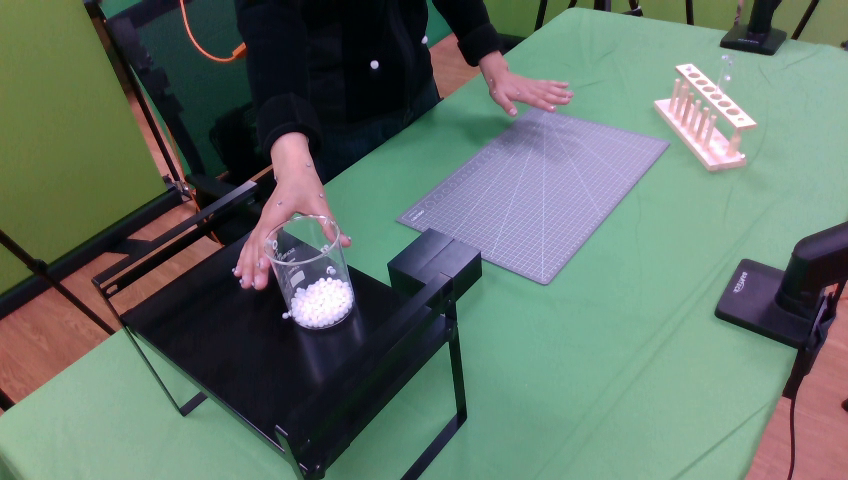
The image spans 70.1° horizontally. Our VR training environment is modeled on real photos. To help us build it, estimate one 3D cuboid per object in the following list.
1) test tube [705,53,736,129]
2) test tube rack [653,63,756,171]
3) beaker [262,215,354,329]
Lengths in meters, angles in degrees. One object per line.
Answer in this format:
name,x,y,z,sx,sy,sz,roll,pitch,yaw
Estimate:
test tube,0.525,-0.260,1.074,0.017,0.151,0.017,-2,44,3
test tube rack,0.510,-0.233,1.120,0.067,0.085,0.241,-9,41,-1
beaker,-0.112,0.034,0.616,0.073,0.101,0.084,13,44,23
